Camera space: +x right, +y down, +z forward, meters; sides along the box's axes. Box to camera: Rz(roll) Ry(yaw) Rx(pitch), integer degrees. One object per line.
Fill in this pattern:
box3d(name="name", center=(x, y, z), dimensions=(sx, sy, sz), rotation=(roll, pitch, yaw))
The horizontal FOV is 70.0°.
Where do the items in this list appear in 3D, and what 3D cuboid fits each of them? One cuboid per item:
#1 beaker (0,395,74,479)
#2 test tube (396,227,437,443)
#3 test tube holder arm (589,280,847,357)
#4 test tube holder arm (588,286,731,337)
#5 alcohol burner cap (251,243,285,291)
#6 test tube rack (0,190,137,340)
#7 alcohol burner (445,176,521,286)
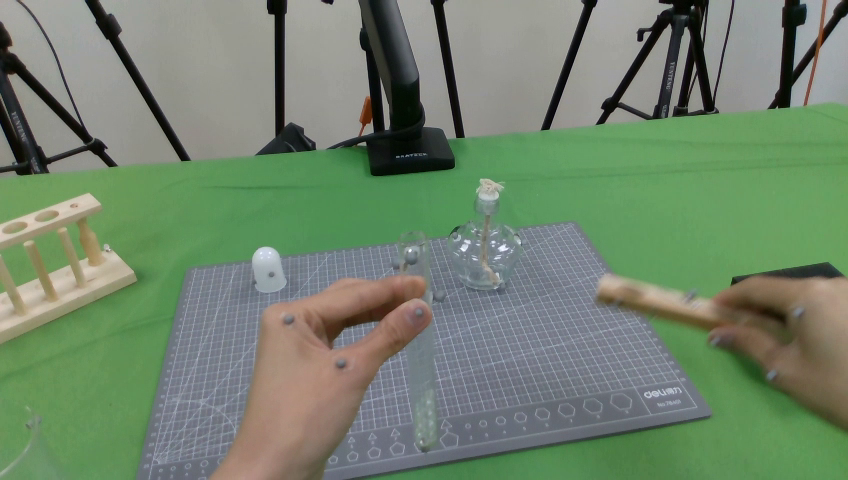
box3d(name="beaker", center=(-0.274, 0.162, 0.392), dimensions=(0.084, 0.101, 0.073), rotation=(-3, 35, 0))
box3d(name="test tube", center=(-0.003, 0.060, 0.337), dimensions=(0.017, 0.151, 0.017), rotation=(-2, 32, 2))
box3d(name="test tube holder arm", center=(0.196, 0.051, 0.387), dimensions=(0.178, 0.015, 0.013), rotation=(11, 48, 14))
box3d(name="test tube holder arm", center=(0.151, 0.046, 0.394), dimensions=(0.087, 0.015, 0.010), rotation=(11, 48, 14))
box3d(name="alcohol burner cap", center=(-0.164, 0.026, 0.628), dimensions=(0.034, 0.048, 0.033), rotation=(-1, 35, 1))
box3d(name="test tube rack", center=(-0.419, 0.043, 0.580), dimensions=(0.242, 0.086, 0.066), rotation=(-30, 44, -34))
box3d(name="alcohol burner", center=(0.060, -0.012, 0.611), dimensions=(0.078, 0.120, 0.077), rotation=(1, 35, 0))
